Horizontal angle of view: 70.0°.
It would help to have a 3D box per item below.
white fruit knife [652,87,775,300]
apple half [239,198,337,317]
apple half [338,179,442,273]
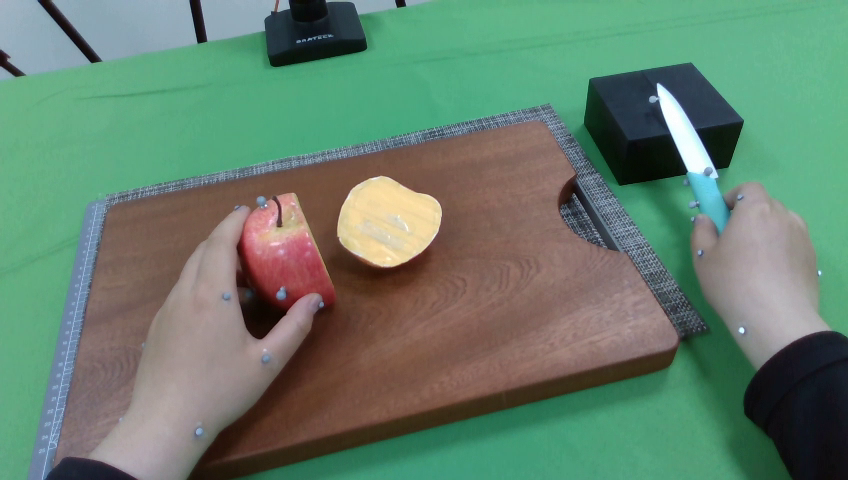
[{"bbox_3d":[0.223,-0.045,0.487,0.027,0.016,0.205,-10,63,-5],"label":"white fruit knife"},{"bbox_3d":[-0.098,0.018,0.422,0.053,0.075,0.080,-23,51,-9],"label":"apple half"},{"bbox_3d":[-0.027,-0.004,0.463,0.081,0.033,0.080,0,61,0],"label":"apple half"}]
